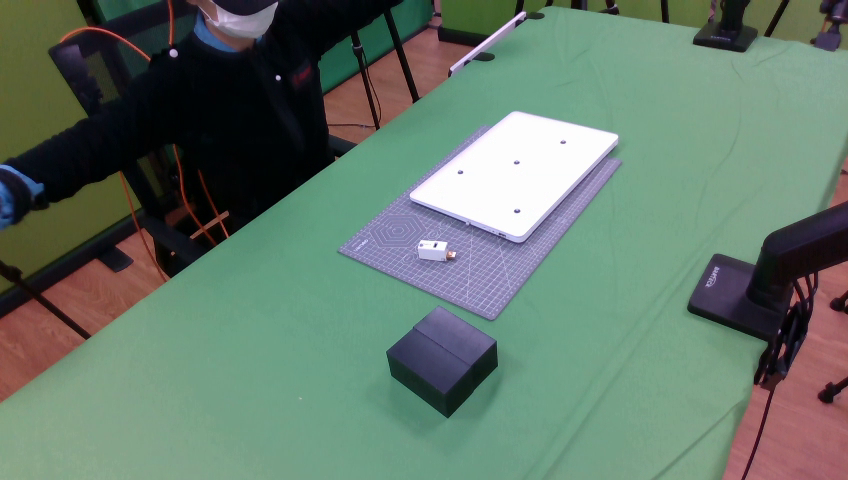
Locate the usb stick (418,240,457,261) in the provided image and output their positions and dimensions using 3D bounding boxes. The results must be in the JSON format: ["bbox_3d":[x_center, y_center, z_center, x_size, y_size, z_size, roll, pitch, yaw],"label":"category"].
[{"bbox_3d":[0.021,0.017,0.938,0.059,0.027,0.021,8,42,13],"label":"usb stick"}]

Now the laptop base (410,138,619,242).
[{"bbox_3d":[0.170,-0.127,1.096,0.233,0.023,0.355,21,47,34],"label":"laptop base"}]

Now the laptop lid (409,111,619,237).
[{"bbox_3d":[0.167,-0.137,1.089,0.239,0.013,0.358,24,48,34],"label":"laptop lid"}]
